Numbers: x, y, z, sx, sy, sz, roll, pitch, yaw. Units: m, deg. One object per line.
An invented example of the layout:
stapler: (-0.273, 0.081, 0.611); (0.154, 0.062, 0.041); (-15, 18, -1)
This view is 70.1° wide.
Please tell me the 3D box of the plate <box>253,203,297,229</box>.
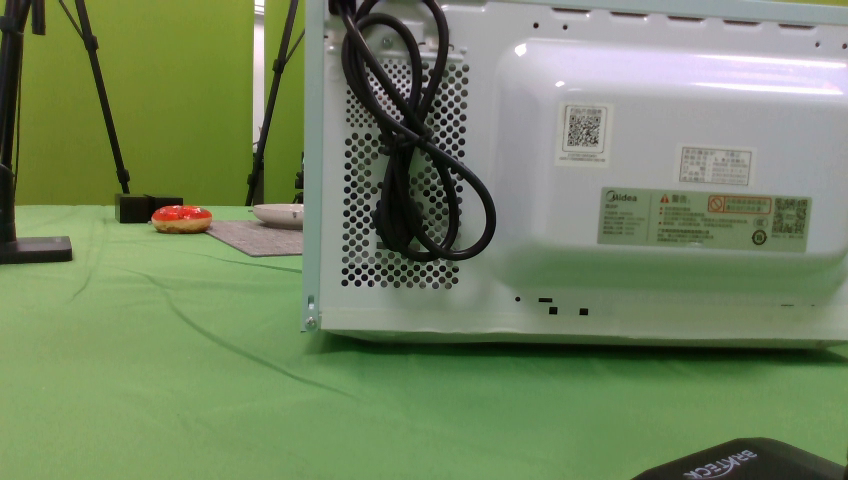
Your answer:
plate: (-0.238, -0.048, 1.226); (0.208, 0.039, 0.207); (3, 7, 0)

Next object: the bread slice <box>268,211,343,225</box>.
bread slice: (-0.244, -0.046, 1.220); (0.104, 0.019, 0.132); (7, 8, 36)

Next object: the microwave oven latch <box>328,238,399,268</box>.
microwave oven latch: (-0.069, 0.015, 0.694); (0.079, 0.029, 0.030); (3, 7, -3)

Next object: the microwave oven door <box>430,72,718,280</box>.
microwave oven door: (0.177, -0.088, 0.786); (0.354, 0.243, 0.039); (6, 7, 27)

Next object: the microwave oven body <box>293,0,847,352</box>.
microwave oven body: (0.122, -0.055, 0.550); (0.442, 0.260, 0.325); (3, 7, -5)

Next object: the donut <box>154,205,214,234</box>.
donut: (-0.426, -0.037, 1.075); (0.099, 0.048, 0.099); (2, 12, 0)
